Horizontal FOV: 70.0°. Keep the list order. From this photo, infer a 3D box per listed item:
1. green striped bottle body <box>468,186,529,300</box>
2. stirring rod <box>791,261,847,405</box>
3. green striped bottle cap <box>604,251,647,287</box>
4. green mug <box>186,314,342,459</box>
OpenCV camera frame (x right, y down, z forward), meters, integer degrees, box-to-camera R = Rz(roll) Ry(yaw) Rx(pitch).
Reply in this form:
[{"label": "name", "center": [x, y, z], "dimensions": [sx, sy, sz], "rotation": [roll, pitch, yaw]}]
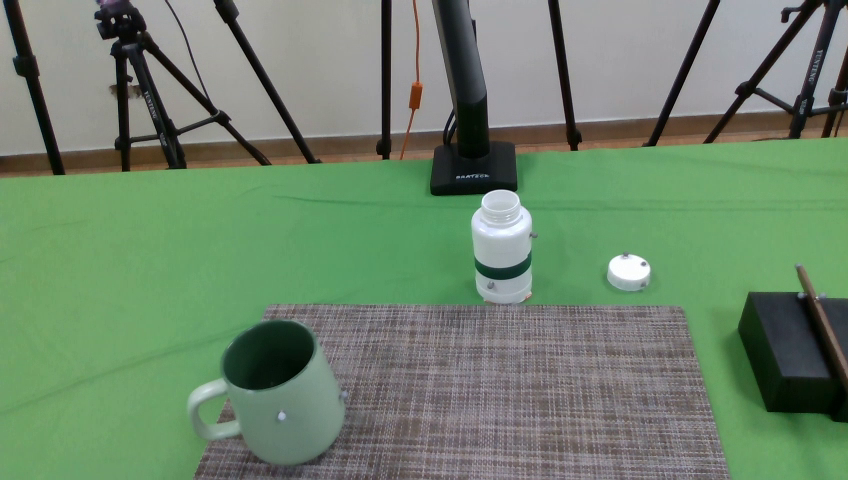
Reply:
[{"label": "green striped bottle body", "center": [0.080, 0.002, 0.643], "dimensions": [0.063, 0.120, 0.062], "rotation": [-5, 39, 4]}, {"label": "stirring rod", "center": [0.339, 0.079, 0.513], "dimensions": [0.006, 0.014, 0.174], "rotation": [-2, 40, 14]}, {"label": "green striped bottle cap", "center": [0.222, 0.032, 0.666], "dimensions": [0.044, 0.020, 0.044], "rotation": [-3, 36, 2]}, {"label": "green mug", "center": [-0.139, 0.133, 0.524], "dimensions": [0.125, 0.106, 0.091], "rotation": [-18, 41, -12]}]
